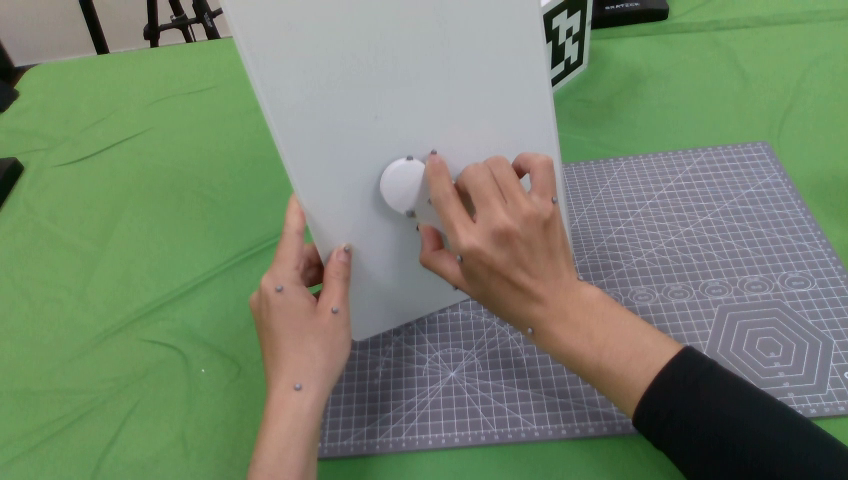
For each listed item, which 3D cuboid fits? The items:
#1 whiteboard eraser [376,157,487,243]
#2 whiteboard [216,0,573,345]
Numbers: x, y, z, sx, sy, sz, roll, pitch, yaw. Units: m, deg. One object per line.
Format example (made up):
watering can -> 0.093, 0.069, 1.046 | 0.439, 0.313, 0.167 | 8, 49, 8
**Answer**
whiteboard eraser -> 0.007, -0.031, 0.479 | 0.041, 0.102, 0.018 | -57, 29, 9
whiteboard -> -0.018, -0.104, 0.520 | 0.217, 0.308, 0.142 | -21, 30, -8
